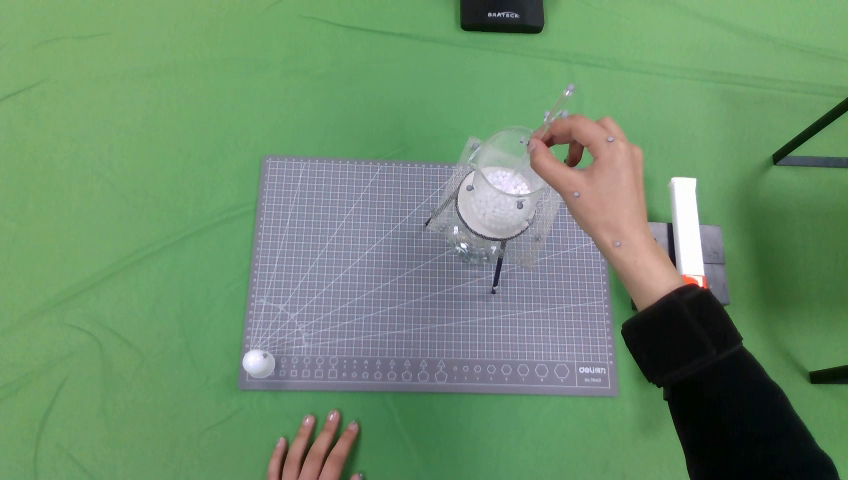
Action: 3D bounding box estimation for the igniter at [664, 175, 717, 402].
[{"bbox_3d":[0.312,0.051,0.718,0.057,0.025,0.275,4,71,0],"label":"igniter"}]

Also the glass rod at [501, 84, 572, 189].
[{"bbox_3d":[0.097,-0.085,0.546,0.008,0.200,0.008,2,73,-7],"label":"glass rod"}]

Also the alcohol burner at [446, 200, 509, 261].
[{"bbox_3d":[0.066,-0.016,0.721,0.078,0.119,0.077,1,74,-2],"label":"alcohol burner"}]

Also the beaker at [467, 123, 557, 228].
[{"bbox_3d":[0.080,-0.059,0.606,0.084,0.101,0.073,2,71,-2],"label":"beaker"}]

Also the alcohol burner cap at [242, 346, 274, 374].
[{"bbox_3d":[-0.192,0.135,0.693,0.034,0.048,0.033,1,73,-4],"label":"alcohol burner cap"}]

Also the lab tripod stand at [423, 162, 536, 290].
[{"bbox_3d":[0.075,-0.028,0.715,0.148,0.132,0.147,1,70,-3],"label":"lab tripod stand"}]

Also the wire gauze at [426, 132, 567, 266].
[{"bbox_3d":[0.081,-0.045,0.652,0.121,0.011,0.124,24,69,1],"label":"wire gauze"}]
